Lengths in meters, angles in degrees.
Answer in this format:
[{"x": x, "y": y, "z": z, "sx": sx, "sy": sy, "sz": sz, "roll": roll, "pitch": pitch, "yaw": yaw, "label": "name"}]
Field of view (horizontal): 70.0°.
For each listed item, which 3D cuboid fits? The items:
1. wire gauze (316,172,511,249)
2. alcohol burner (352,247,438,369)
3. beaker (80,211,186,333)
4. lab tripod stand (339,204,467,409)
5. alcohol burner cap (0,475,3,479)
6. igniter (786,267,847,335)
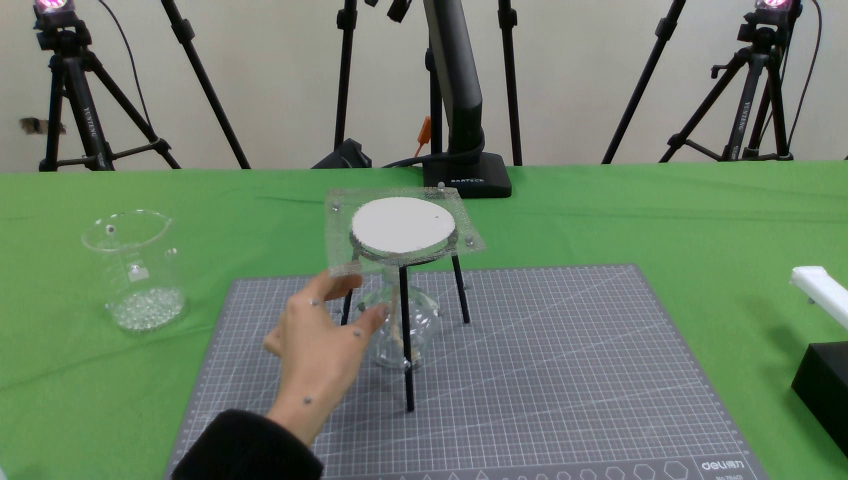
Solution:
[{"x": -0.011, "y": -0.024, "z": 0.486, "sx": 0.125, "sy": 0.011, "sz": 0.120, "roll": -10, "pitch": 29, "yaw": -28, "label": "wire gauze"}, {"x": -0.025, "y": 0.056, "z": 0.535, "sx": 0.078, "sy": 0.120, "sz": 0.077, "roll": 2, "pitch": 33, "yaw": -1, "label": "alcohol burner"}, {"x": -0.275, "y": 0.032, "z": 0.589, "sx": 0.084, "sy": 0.101, "sz": 0.073, "roll": -27, "pitch": 42, "yaw": -36, "label": "beaker"}, {"x": -0.016, "y": 0.048, "z": 0.528, "sx": 0.148, "sy": 0.132, "sz": 0.147, "roll": 2, "pitch": 34, "yaw": -1, "label": "lab tripod stand"}, {"x": -0.315, "y": 0.171, "z": 0.424, "sx": 0.034, "sy": 0.048, "sz": 0.033, "roll": 2, "pitch": 31, "yaw": -1, "label": "alcohol burner cap"}, {"x": 0.376, "y": 0.100, "z": 0.468, "sx": 0.057, "sy": 0.025, "sz": 0.274, "roll": -2, "pitch": 29, "yaw": -4, "label": "igniter"}]
